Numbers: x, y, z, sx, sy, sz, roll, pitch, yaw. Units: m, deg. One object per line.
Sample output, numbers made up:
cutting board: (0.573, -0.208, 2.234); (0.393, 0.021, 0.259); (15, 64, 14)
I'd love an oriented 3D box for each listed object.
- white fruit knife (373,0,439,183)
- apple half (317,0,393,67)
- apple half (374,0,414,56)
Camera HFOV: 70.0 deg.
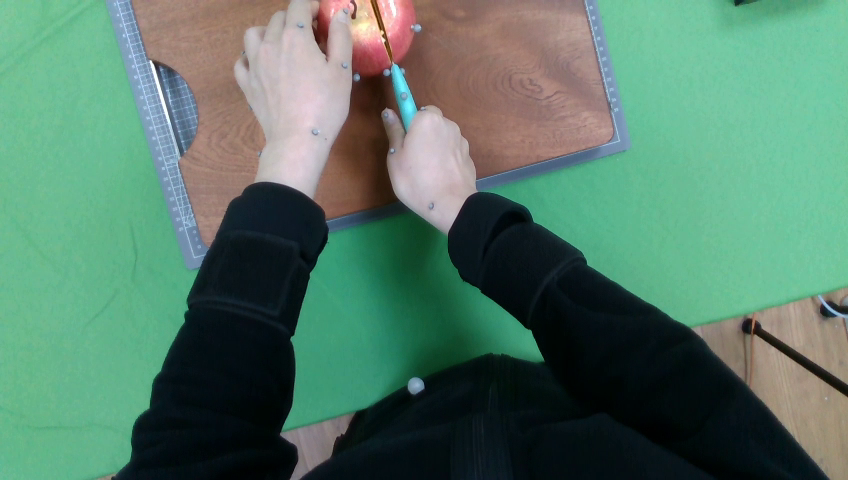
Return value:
white fruit knife: (-0.025, -0.149, 0.525); (0.016, 0.027, 0.208); (-20, 97, -3)
apple half: (-0.063, -0.186, 0.520); (0.053, 0.074, 0.081); (-19, 98, 7)
apple half: (-0.025, -0.199, 0.520); (0.033, 0.081, 0.081); (-18, 94, -1)
